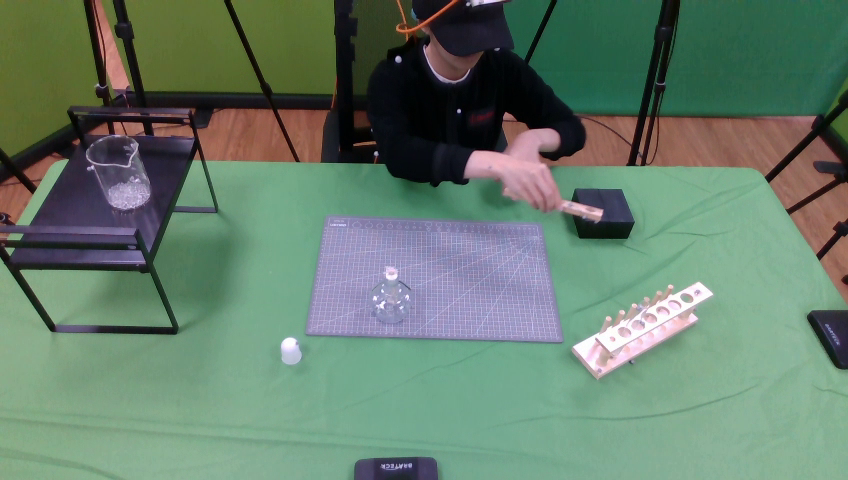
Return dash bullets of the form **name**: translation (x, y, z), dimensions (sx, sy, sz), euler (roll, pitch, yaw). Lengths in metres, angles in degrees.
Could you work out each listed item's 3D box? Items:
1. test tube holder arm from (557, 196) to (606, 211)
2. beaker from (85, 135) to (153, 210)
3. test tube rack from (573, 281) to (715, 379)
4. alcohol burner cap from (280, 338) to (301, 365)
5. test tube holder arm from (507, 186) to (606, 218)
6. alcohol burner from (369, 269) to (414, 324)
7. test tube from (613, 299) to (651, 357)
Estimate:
- **test tube holder arm**: translation (0.281, -0.061, 1.084), dimensions (0.087, 0.015, 0.010), euler (16, 46, 15)
- **beaker**: translation (-0.475, -0.102, 0.957), dimensions (0.083, 0.101, 0.074), euler (34, 53, 26)
- **test tube rack**: translation (0.378, 0.140, 1.038), dimensions (0.242, 0.085, 0.066), euler (-22, 51, -23)
- **alcohol burner cap**: translation (-0.220, 0.179, 0.993), dimensions (0.034, 0.048, 0.033), euler (2, 46, -2)
- **test tube holder arm**: translation (0.237, -0.069, 1.092), dimensions (0.178, 0.015, 0.013), euler (16, 46, 15)
- **alcohol burner**: translation (-0.056, 0.089, 1.037), dimensions (0.078, 0.120, 0.077), euler (1, 48, -1)
- **test tube**: translation (0.328, 0.143, 0.962), dimensions (0.017, 0.151, 0.017), euler (3, 48, -3)
